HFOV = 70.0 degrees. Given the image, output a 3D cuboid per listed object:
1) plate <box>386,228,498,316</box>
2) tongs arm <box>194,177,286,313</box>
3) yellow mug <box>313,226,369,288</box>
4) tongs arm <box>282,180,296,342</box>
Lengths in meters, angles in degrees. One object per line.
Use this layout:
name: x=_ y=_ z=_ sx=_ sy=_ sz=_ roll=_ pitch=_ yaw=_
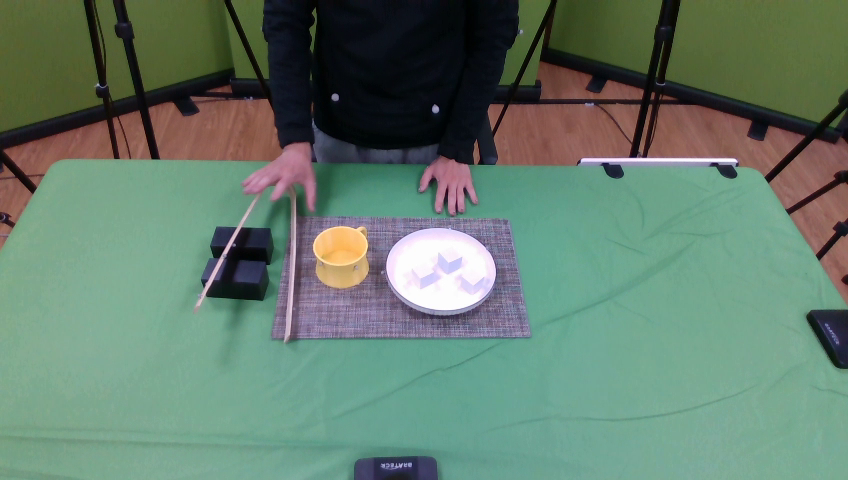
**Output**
plate: x=0.032 y=0.062 z=1.126 sx=0.208 sy=0.039 sz=0.206 roll=2 pitch=46 yaw=-2
tongs arm: x=-0.328 y=-0.004 z=1.113 sx=0.051 sy=0.026 sz=0.382 roll=24 pitch=38 yaw=-15
yellow mug: x=-0.146 y=0.021 z=1.132 sx=0.099 sy=0.064 sz=0.130 roll=24 pitch=49 yaw=19
tongs arm: x=-0.256 y=0.026 z=1.142 sx=0.028 sy=0.028 sz=0.385 roll=12 pitch=43 yaw=-23
